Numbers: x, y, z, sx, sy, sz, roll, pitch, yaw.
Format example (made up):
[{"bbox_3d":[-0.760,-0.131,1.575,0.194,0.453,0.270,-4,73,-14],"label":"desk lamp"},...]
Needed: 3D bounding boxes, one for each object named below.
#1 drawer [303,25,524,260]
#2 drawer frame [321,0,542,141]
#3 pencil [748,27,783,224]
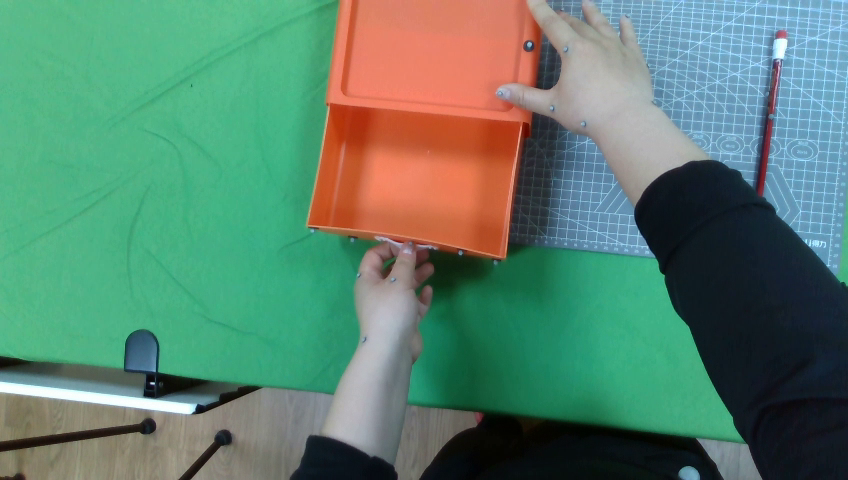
[{"bbox_3d":[-0.002,-0.094,0.603,0.194,0.073,0.211,8,86,8],"label":"drawer"},{"bbox_3d":[0.014,-0.218,0.607,0.201,0.083,0.213,6,88,9],"label":"drawer frame"},{"bbox_3d":[0.335,-0.112,0.596,0.012,0.012,0.194,8,91,8],"label":"pencil"}]
